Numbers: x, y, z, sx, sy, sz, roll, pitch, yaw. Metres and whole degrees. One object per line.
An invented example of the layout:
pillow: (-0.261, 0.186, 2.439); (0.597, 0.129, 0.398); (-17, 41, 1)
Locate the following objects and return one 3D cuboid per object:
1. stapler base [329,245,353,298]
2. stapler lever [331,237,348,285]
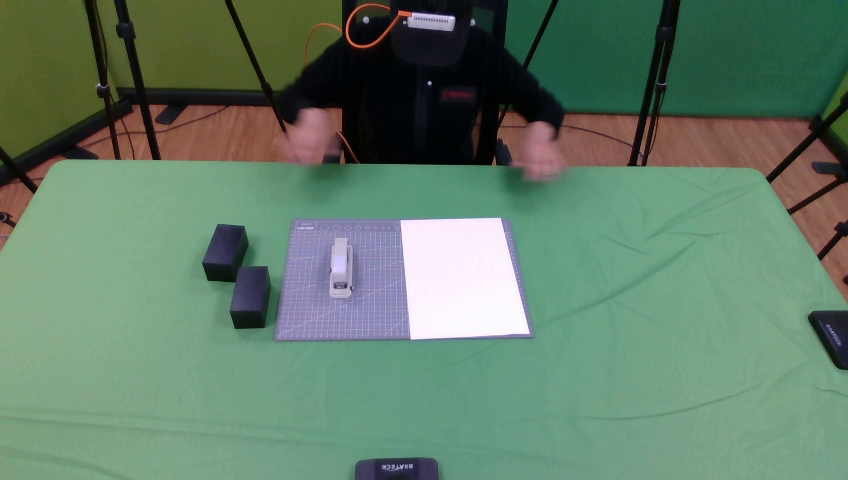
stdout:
stapler base: (-0.155, 0.051, 1.133); (0.041, 0.024, 0.129); (1, 44, -6)
stapler lever: (-0.155, 0.032, 1.116); (0.027, 0.040, 0.117); (1, 44, -6)
